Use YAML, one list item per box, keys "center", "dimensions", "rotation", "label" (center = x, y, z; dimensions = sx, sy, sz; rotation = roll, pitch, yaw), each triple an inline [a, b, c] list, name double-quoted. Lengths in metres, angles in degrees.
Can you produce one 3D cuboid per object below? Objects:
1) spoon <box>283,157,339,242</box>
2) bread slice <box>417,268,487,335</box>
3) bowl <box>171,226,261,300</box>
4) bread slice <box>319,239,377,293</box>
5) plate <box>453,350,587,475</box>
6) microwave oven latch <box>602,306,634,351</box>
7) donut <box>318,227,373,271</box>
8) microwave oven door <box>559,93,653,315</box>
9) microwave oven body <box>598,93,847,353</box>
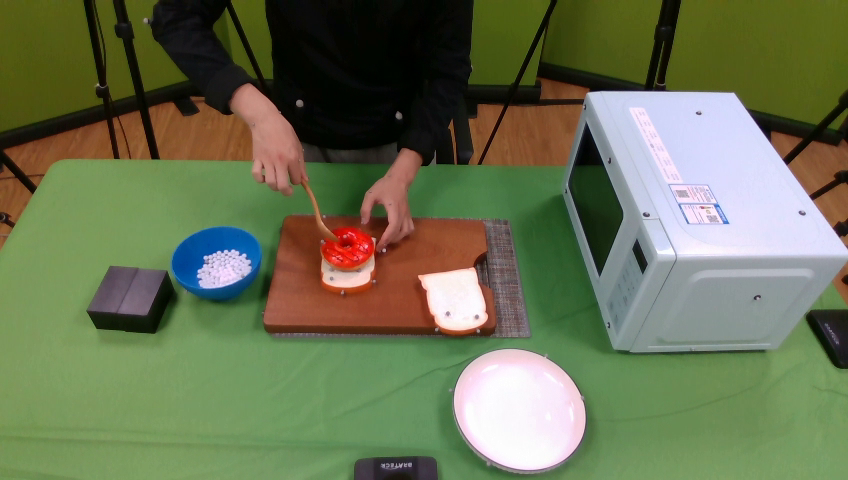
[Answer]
- center: [-0.201, -0.073, 1.068]
  dimensions: [0.021, 0.042, 0.193]
  rotation: [-27, 70, -7]
  label: "spoon"
- center: [0.055, 0.107, 1.063]
  dimensions: [0.107, 0.018, 0.133]
  rotation: [-9, 48, -12]
  label: "bread slice"
- center: [-0.363, 0.054, 1.081]
  dimensions: [0.151, 0.077, 0.150]
  rotation: [3, 45, -2]
  label: "bowl"
- center: [-0.140, 0.044, 1.111]
  dimensions: [0.105, 0.019, 0.130]
  rotation: [0, 45, -3]
  label: "bread slice"
- center: [0.146, 0.267, 0.943]
  dimensions: [0.208, 0.039, 0.206]
  rotation: [2, 45, -2]
  label: "plate"
- center: [0.332, 0.153, 1.044]
  dimensions: [0.030, 0.029, 0.078]
  rotation: [0, 45, -4]
  label: "microwave oven latch"
- center: [-0.141, 0.017, 1.095]
  dimensions: [0.099, 0.048, 0.098]
  rotation: [2, 44, -2]
  label: "donut"
- center: [0.327, -0.074, 1.123]
  dimensions: [0.039, 0.245, 0.353]
  rotation: [-1, 46, -5]
  label: "microwave oven door"
- center: [0.475, -0.041, 1.109]
  dimensions: [0.326, 0.261, 0.438]
  rotation: [-1, 45, -4]
  label: "microwave oven body"
